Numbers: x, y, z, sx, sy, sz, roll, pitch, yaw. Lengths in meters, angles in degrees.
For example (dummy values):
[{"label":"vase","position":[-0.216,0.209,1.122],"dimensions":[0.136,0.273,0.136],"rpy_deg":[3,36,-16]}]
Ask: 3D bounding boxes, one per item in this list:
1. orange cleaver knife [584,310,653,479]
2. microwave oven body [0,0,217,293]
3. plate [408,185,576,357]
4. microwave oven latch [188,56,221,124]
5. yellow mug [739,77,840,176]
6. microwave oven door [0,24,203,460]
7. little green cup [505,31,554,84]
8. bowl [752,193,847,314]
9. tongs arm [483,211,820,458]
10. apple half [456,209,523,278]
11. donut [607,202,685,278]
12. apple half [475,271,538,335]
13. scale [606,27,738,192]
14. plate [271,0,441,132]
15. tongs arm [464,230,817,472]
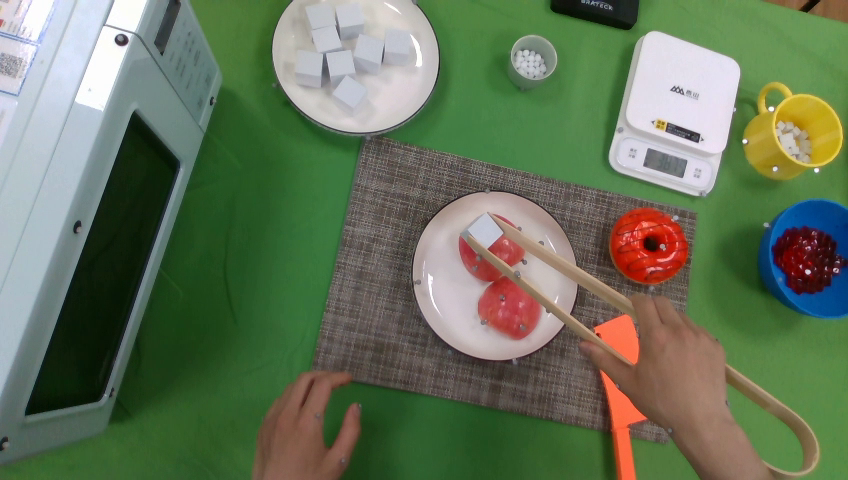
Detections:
[{"label":"orange cleaver knife","position":[0.246,0.192,0.748],"dimensions":[0.077,0.012,0.210],"rpy_deg":[-5,81,-14]},{"label":"microwave oven body","position":[-0.438,-0.066,0.574],"dimensions":[0.327,0.260,0.440],"rpy_deg":[15,80,-5]},{"label":"plate","position":[0.082,0.037,0.740],"dimensions":[0.209,0.038,0.208],"rpy_deg":[1,81,-7]},{"label":"microwave oven latch","position":[-0.264,-0.180,0.713],"dimensions":[0.030,0.029,0.079],"rpy_deg":[18,80,-5]},{"label":"yellow mug","position":[0.483,-0.157,0.813],"dimensions":[0.100,0.064,0.130],"rpy_deg":[-20,84,-10]},{"label":"microwave oven door","position":[-0.307,0.012,0.574],"dimensions":[0.039,0.244,0.354],"rpy_deg":[15,79,-4]},{"label":"little green cup","position":[0.136,-0.236,0.794],"dimensions":[0.062,0.038,0.061],"rpy_deg":[1,80,-7]},{"label":"bowl","position":[0.482,0.022,0.780],"dimensions":[0.152,0.077,0.151],"rpy_deg":[1,82,-7]},{"label":"tongs arm","position":[0.212,0.080,0.616],"dimensions":[0.385,0.028,0.028],"rpy_deg":[36,63,21]},{"label":"apple half","position":[0.081,0.000,0.730],"dimensions":[0.081,0.053,0.074],"rpy_deg":[-31,84,-11]},{"label":"donut","position":[0.279,0.000,0.769],"dimensions":[0.099,0.048,0.098],"rpy_deg":[1,81,-5]},{"label":"apple half","position":[0.104,0.073,0.731],"dimensions":[0.081,0.033,0.081],"rpy_deg":[1,82,-4]},{"label":"scale","position":[0.334,-0.175,0.814],"dimensions":[0.149,0.031,0.200],"rpy_deg":[17,80,-4]},{"label":"plate","position":[-0.084,-0.232,0.764],"dimensions":[0.208,0.039,0.207],"rpy_deg":[1,81,-7]},{"label":"tongs arm","position":[0.197,0.095,0.608],"dimensions":[0.050,0.027,0.382],"rpy_deg":[-41,66,-20]}]
